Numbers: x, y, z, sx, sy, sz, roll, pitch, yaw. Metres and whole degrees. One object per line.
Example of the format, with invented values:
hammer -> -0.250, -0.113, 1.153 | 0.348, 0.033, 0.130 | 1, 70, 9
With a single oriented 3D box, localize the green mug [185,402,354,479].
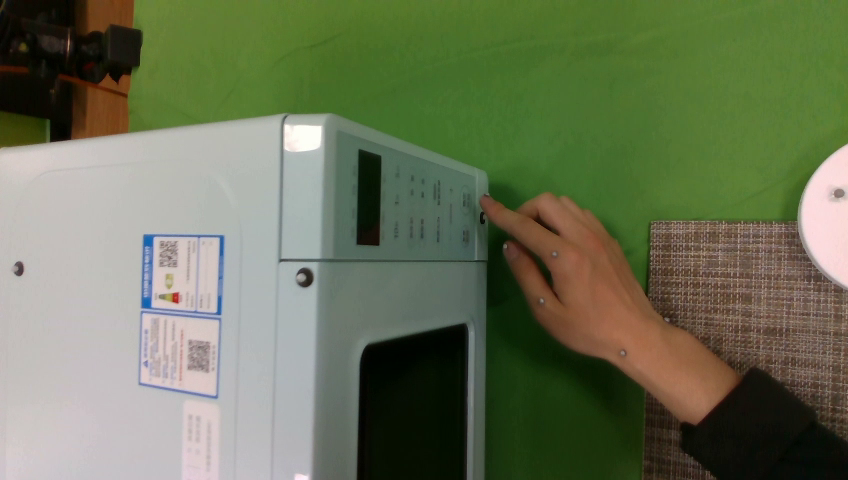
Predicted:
green mug -> -0.119, 0.189, 0.508 | 0.125, 0.105, 0.092 | -15, 86, 19

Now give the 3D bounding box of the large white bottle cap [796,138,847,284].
large white bottle cap -> 0.313, -0.020, 0.400 | 0.114, 0.018, 0.114 | -1, 88, 26

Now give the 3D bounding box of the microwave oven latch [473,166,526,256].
microwave oven latch -> 0.051, -0.025, 0.507 | 0.030, 0.029, 0.078 | -36, 75, 22

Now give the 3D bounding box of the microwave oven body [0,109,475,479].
microwave oven body -> -0.143, 0.146, 0.495 | 0.324, 0.261, 0.441 | 1, 90, 26

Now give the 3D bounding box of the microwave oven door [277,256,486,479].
microwave oven door -> -0.016, 0.188, 0.425 | 0.039, 0.245, 0.355 | 0, 89, 27
